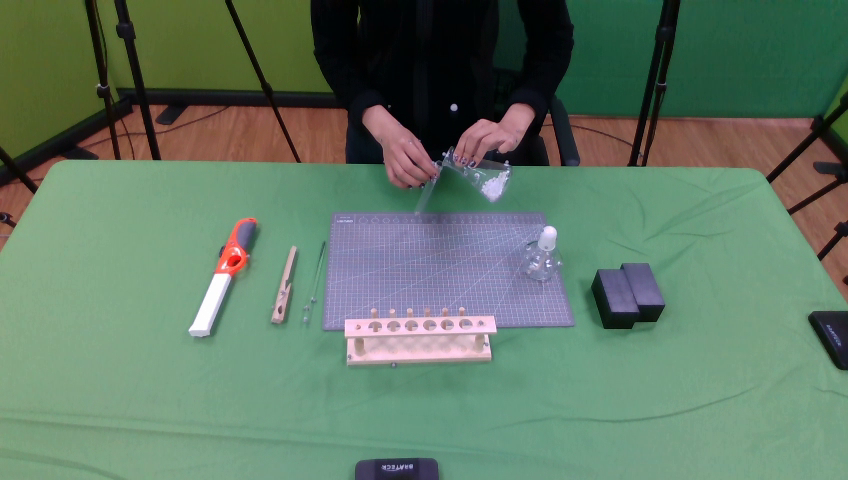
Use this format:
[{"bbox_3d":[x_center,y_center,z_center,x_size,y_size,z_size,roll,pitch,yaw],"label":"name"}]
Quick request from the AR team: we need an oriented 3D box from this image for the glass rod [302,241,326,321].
[{"bbox_3d":[-0.203,0.071,1.124,0.008,0.008,0.198,4,44,1],"label":"glass rod"}]

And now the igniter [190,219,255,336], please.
[{"bbox_3d":[-0.365,0.058,1.110,0.057,0.025,0.275,-1,45,8],"label":"igniter"}]

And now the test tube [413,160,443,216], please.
[{"bbox_3d":[0.006,-0.096,1.155,0.017,0.151,0.017,11,50,-13],"label":"test tube"}]

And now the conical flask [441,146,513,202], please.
[{"bbox_3d":[0.092,-0.125,1.088,0.122,0.075,0.075,27,48,-3],"label":"conical flask"}]

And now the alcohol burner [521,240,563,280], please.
[{"bbox_3d":[0.224,0.020,1.131,0.078,0.119,0.077,4,46,-4],"label":"alcohol burner"}]

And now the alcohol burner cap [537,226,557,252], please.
[{"bbox_3d":[0.226,-0.004,1.104,0.034,0.048,0.033,0,50,1],"label":"alcohol burner cap"}]

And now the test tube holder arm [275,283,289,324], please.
[{"bbox_3d":[-0.254,0.111,1.077,0.010,0.015,0.087,29,38,-27],"label":"test tube holder arm"}]

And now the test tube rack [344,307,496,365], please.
[{"bbox_3d":[-0.009,0.154,1.007,0.242,0.085,0.066,-1,46,-5],"label":"test tube rack"}]

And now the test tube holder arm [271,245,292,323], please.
[{"bbox_3d":[-0.259,0.076,1.106,0.013,0.015,0.177,28,38,-28],"label":"test tube holder arm"}]
